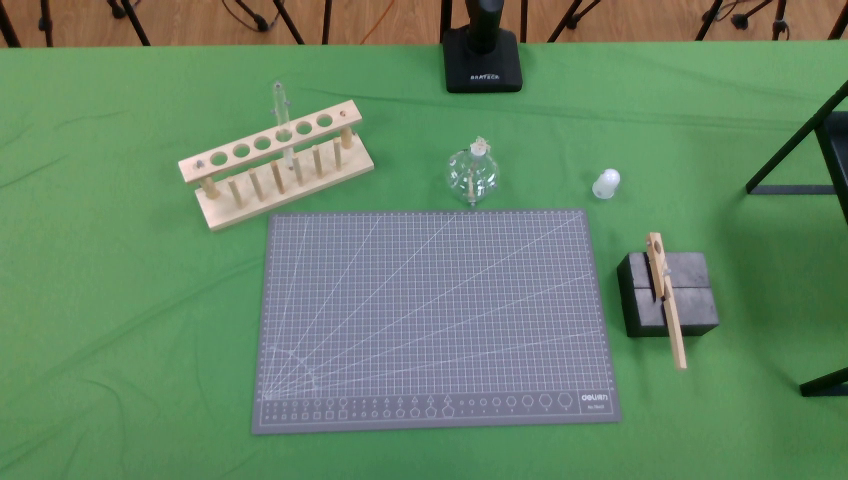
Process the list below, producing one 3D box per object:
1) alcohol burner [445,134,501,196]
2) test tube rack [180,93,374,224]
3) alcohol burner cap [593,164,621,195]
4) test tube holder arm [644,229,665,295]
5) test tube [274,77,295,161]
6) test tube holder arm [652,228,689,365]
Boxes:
[{"bbox_3d":[0.070,-0.110,0.830,0.078,0.120,0.077,2,66,-4],"label":"alcohol burner"},{"bbox_3d":[-0.193,-0.112,0.831,0.242,0.086,0.066,-23,69,-13],"label":"test tube rack"},{"bbox_3d":[0.265,-0.090,0.870,0.034,0.048,0.033,1,65,-1],"label":"alcohol burner cap"},{"bbox_3d":[0.298,0.027,0.779,0.010,0.015,0.087,-2,68,-6],"label":"test tube holder arm"},{"bbox_3d":[-0.182,-0.154,0.797,0.017,0.151,0.017,3,58,-5],"label":"test tube"},{"bbox_3d":[0.308,0.068,0.763,0.013,0.015,0.177,-4,68,-6],"label":"test tube holder arm"}]
